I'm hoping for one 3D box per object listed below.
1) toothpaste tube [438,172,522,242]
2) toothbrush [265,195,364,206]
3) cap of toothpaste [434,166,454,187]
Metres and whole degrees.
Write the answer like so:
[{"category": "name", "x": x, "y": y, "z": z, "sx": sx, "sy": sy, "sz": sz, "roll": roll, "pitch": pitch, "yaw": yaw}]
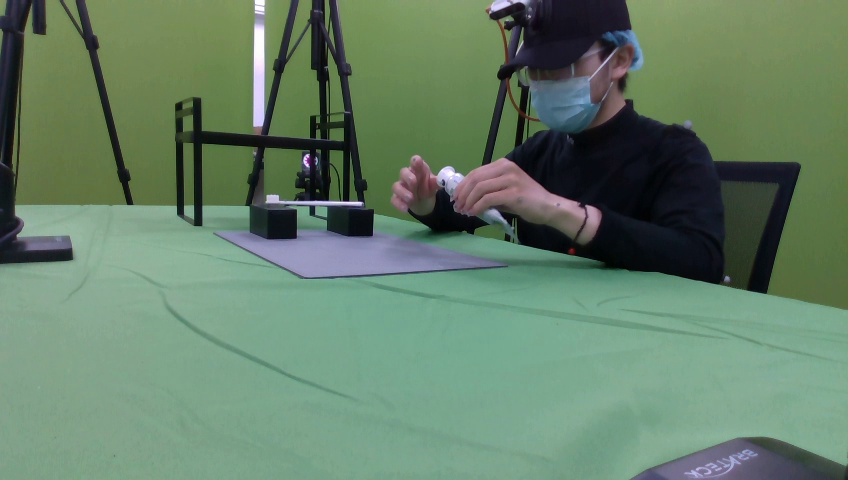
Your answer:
[{"category": "toothpaste tube", "x": 0.077, "y": -0.054, "z": 0.855, "sx": 0.164, "sy": 0.034, "sz": 0.055, "roll": 42, "pitch": -2, "yaw": 38}, {"category": "toothbrush", "x": -0.194, "y": -0.069, "z": 1.090, "sx": 0.183, "sy": 0.016, "sz": 0.014, "roll": 0, "pitch": -8, "yaw": -27}, {"category": "cap of toothpaste", "x": 0.033, "y": -0.094, "z": 0.906, "sx": 0.037, "sy": 0.037, "sz": 0.011, "roll": -4, "pitch": 34, "yaw": -41}]
